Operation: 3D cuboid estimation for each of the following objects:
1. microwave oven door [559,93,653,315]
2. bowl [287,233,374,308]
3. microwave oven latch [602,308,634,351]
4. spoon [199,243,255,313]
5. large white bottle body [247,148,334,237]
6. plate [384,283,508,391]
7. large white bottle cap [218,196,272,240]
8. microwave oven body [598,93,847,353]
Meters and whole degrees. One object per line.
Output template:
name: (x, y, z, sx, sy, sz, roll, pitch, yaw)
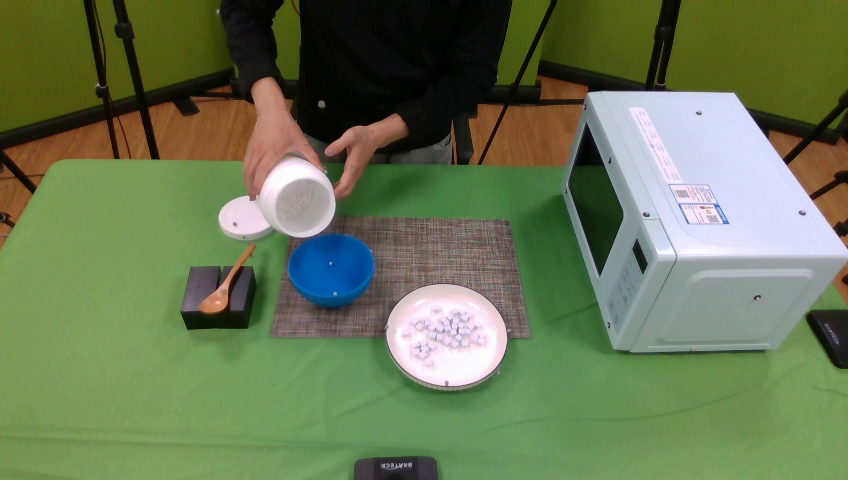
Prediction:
microwave oven door: (0.327, -0.074, 1.123, 0.039, 0.245, 0.353, -1, 46, -5)
bowl: (-0.165, 0.068, 1.078, 0.151, 0.077, 0.150, 3, 46, -2)
microwave oven latch: (0.332, 0.153, 1.044, 0.030, 0.029, 0.078, -1, 45, -4)
spoon: (-0.334, 0.062, 1.051, 0.041, 0.022, 0.193, 8, 40, 7)
large white bottle body: (-0.241, -0.085, 1.097, 0.131, 0.131, 0.183, -17, 27, -20)
plate: (0.036, 0.166, 1.029, 0.209, 0.038, 0.208, 2, 49, -2)
large white bottle cap: (-0.355, -0.045, 1.220, 0.115, 0.018, 0.114, 2, 45, -2)
microwave oven body: (0.475, -0.041, 1.109, 0.326, 0.261, 0.438, -1, 45, -4)
